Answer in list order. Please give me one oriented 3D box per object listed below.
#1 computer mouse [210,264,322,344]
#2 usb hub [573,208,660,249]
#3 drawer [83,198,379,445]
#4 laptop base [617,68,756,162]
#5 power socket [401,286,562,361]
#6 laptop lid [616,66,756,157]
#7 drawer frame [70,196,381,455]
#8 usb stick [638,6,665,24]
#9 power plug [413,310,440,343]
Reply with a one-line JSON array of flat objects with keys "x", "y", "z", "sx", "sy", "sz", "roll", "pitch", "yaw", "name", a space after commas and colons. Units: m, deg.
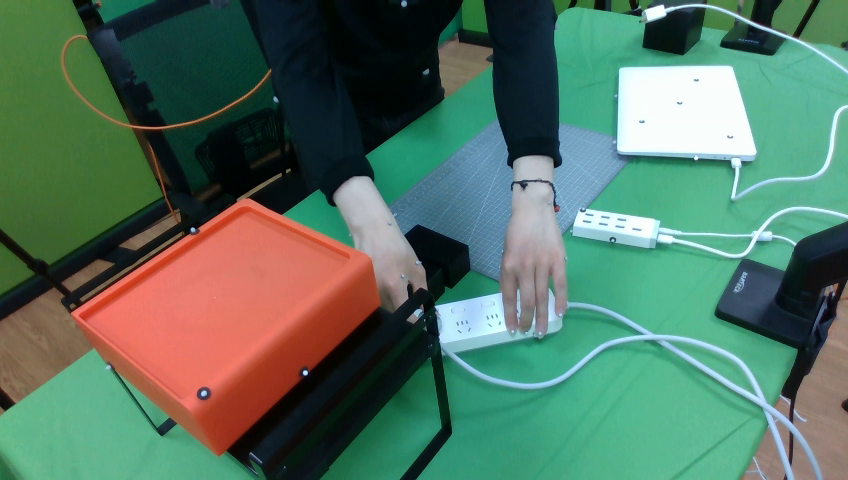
[{"x": -0.164, "y": 0.062, "z": 0.625, "sx": 0.116, "sy": 0.041, "sz": 0.063, "roll": 22, "pitch": 44, "yaw": 27, "name": "computer mouse"}, {"x": 0.302, "y": -0.019, "z": 0.949, "sx": 0.124, "sy": 0.025, "sz": 0.049, "roll": 11, "pitch": 42, "yaw": 20, "name": "usb hub"}, {"x": -0.185, "y": 0.066, "z": 0.601, "sx": 0.193, "sy": 0.073, "sz": 0.212, "roll": 24, "pitch": 50, "yaw": 31, "name": "drawer"}, {"x": 0.507, "y": -0.256, "z": 1.204, "sx": 0.235, "sy": 0.023, "sz": 0.353, "roll": 3, "pitch": 41, "yaw": 15, "name": "laptop base"}, {"x": 0.080, "y": 0.112, "z": 0.821, "sx": 0.227, "sy": 0.033, "sz": 0.071, "roll": -10, "pitch": 41, "yaw": -5, "name": "power socket"}, {"x": 0.503, "y": -0.265, "z": 1.196, "sx": 0.241, "sy": 0.013, "sz": 0.356, "roll": 5, "pitch": 41, "yaw": 16, "name": "laptop lid"}, {"x": -0.186, "y": 0.068, "z": 0.597, "sx": 0.200, "sy": 0.083, "sz": 0.214, "roll": 23, "pitch": 49, "yaw": 30, "name": "drawer frame"}, {"x": 0.503, "y": -0.499, "z": 1.347, "sx": 0.059, "sy": 0.027, "sz": 0.021, "roll": -21, "pitch": 5, "yaw": -2, "name": "usb stick"}, {"x": 0.003, "y": 0.121, "z": 0.770, "sx": 0.035, "sy": 0.053, "sz": 0.072, "roll": -17, "pitch": 36, "yaw": 14, "name": "power plug"}]
